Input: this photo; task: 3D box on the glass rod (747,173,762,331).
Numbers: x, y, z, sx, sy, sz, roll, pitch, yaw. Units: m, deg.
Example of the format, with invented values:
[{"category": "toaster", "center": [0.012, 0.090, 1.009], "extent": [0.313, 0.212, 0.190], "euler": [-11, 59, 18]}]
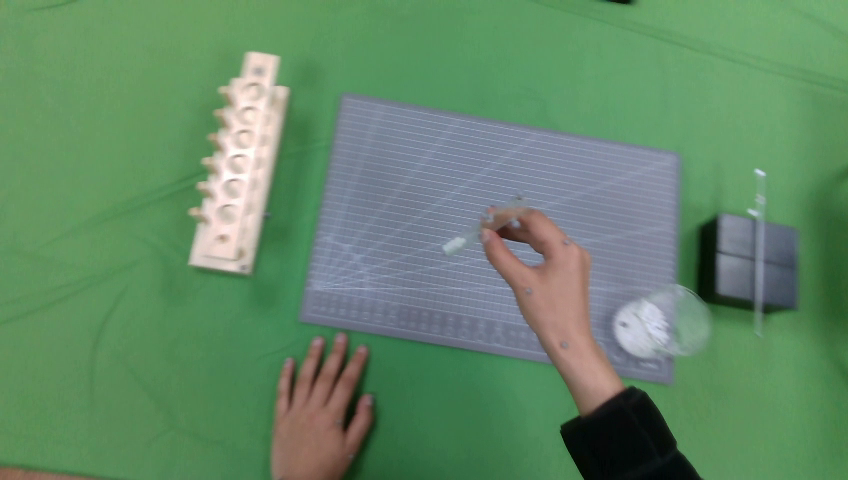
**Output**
[{"category": "glass rod", "center": [0.396, 0.011, 0.726], "extent": [0.008, 0.008, 0.199], "euler": [12, 76, -2]}]

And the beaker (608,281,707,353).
[{"category": "beaker", "center": [0.258, 0.091, 0.693], "extent": [0.084, 0.100, 0.073], "euler": [11, 75, -2]}]

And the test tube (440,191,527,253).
[{"category": "test tube", "center": [0.048, -0.013, 0.547], "extent": [0.017, 0.150, 0.017], "euler": [6, 72, -21]}]

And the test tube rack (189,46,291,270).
[{"category": "test tube rack", "center": [-0.216, -0.095, 0.698], "extent": [0.067, 0.085, 0.241], "euler": [10, 76, -3]}]
